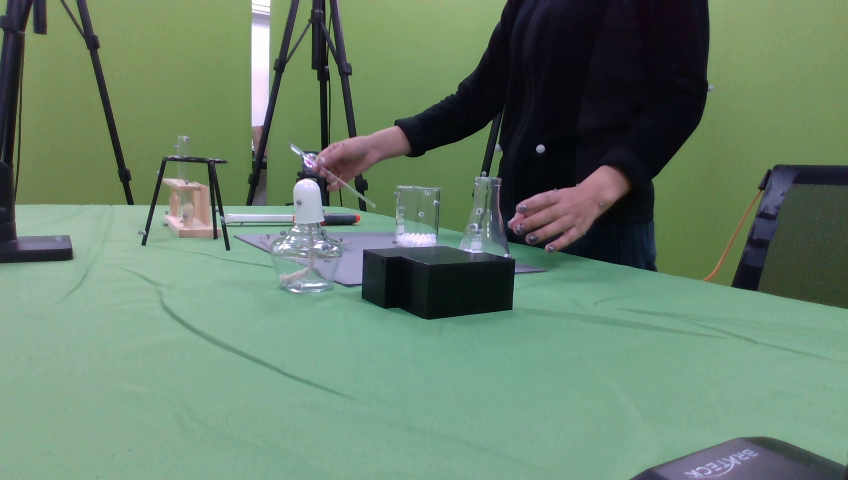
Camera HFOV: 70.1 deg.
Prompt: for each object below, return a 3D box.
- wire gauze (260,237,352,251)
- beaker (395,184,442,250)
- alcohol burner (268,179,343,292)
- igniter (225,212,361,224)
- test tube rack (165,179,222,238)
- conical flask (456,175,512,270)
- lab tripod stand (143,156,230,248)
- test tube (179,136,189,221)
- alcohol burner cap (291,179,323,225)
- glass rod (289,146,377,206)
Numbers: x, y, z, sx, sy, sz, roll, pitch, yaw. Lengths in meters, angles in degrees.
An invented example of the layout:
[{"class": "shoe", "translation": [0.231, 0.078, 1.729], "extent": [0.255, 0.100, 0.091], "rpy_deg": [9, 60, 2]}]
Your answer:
[{"class": "wire gauze", "translation": [-0.184, 0.004, 0.938], "extent": [0.122, 0.011, 0.124], "rpy_deg": [-1, 5, -24]}, {"class": "beaker", "translation": [-0.009, -0.038, 0.968], "extent": [0.074, 0.100, 0.084], "rpy_deg": [6, 7, 21]}, {"class": "alcohol burner", "translation": [-0.124, -0.005, 0.637], "extent": [0.078, 0.119, 0.078], "rpy_deg": [4, 8, 0]}, {"class": "igniter", "translation": [-0.262, -0.044, 1.240], "extent": [0.278, 0.025, 0.057], "rpy_deg": [-2, -1, -30]}, {"class": "test tube rack", "translation": [-0.423, -0.062, 1.098], "extent": [0.067, 0.085, 0.241], "rpy_deg": [-2, 9, -28]}, {"class": "conical flask", "translation": [0.082, -0.025, 0.801], "extent": [0.075, 0.122, 0.075], "rpy_deg": [2, 7, 0]}, {"class": "lab tripod stand", "translation": [-0.338, -0.058, 0.908], "extent": [0.148, 0.131, 0.148], "rpy_deg": [4, 7, 0]}, {"class": "test tube", "translation": [-0.425, -0.108, 1.070], "extent": [0.017, 0.150, 0.017], "rpy_deg": [4, 9, 0]}, {"class": "alcohol burner cap", "translation": [-0.124, -0.040, 0.632], "extent": [0.034, 0.048, 0.034], "rpy_deg": [-3, 10, 1]}, {"class": "glass rod", "translation": [-0.171, -0.120, 1.134], "extent": [0.199, 0.008, 0.008], "rpy_deg": [34, 11, 3]}]
